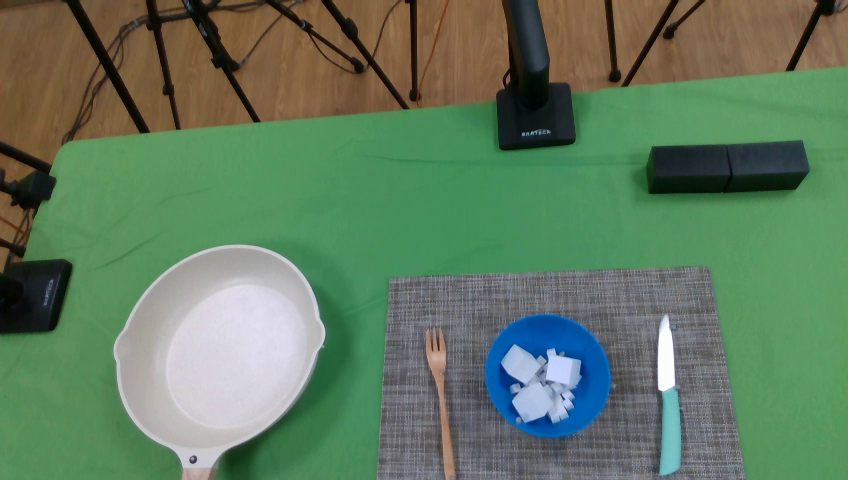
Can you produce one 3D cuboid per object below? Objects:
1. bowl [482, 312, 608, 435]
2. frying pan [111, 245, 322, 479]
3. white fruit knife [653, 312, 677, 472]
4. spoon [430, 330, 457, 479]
[{"bbox_3d":[0.151,0.175,0.766,0.151,0.077,0.150,-4,64,8],"label":"bowl"},{"bbox_3d":[-0.287,0.237,0.802,0.306,0.104,0.483,-4,56,9],"label":"frying pan"},{"bbox_3d":[0.305,0.187,0.767,0.027,0.016,0.206,8,65,1],"label":"white fruit knife"},{"bbox_3d":[0.024,0.214,0.800,0.041,0.022,0.192,-9,61,21],"label":"spoon"}]
